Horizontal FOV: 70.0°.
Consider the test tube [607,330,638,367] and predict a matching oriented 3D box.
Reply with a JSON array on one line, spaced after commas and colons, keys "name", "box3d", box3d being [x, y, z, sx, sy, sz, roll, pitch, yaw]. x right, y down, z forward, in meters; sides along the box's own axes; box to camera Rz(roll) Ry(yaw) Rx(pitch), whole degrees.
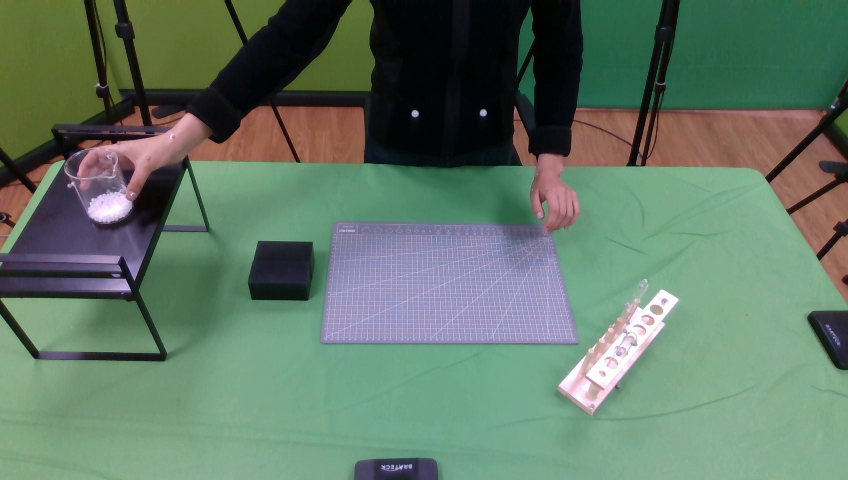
[{"name": "test tube", "box3d": [0.293, 0.184, 0.925, 0.017, 0.151, 0.017, 4, 49, -4]}]

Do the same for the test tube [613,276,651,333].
[{"name": "test tube", "box3d": [0.344, 0.109, 1.007, 0.017, 0.151, 0.017, 3, 49, -3]}]

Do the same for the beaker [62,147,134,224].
[{"name": "beaker", "box3d": [-0.494, -0.080, 0.933, 0.084, 0.101, 0.074, 24, 50, 17]}]

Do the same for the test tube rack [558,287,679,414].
[{"name": "test tube rack", "box3d": [0.326, 0.170, 1.009, 0.066, 0.085, 0.242, 36, 54, 27]}]
